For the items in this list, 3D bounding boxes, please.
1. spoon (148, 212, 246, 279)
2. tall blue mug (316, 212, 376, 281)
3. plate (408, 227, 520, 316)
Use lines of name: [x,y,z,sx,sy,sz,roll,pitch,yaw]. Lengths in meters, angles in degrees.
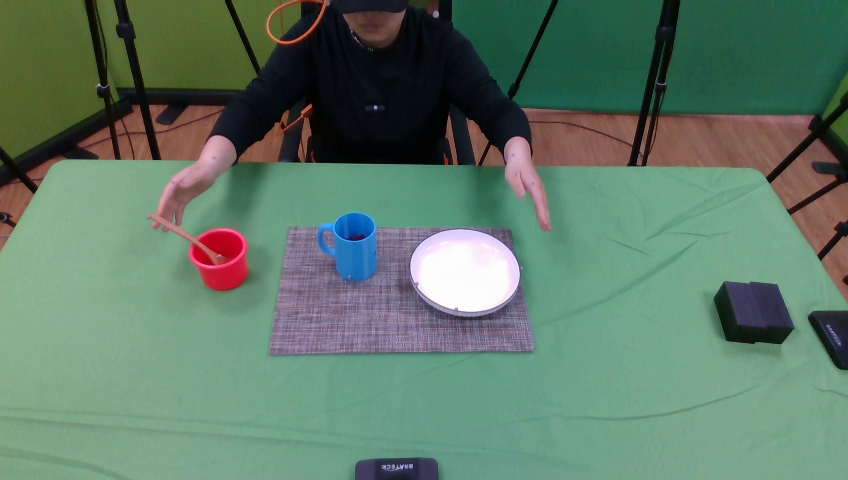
spoon: [-0.400,0.009,1.076,0.194,0.021,0.041,42,37,-25]
tall blue mug: [-0.142,0.014,1.109,0.107,0.108,0.077,-5,47,-8]
plate: [0.073,0.062,1.128,0.208,0.039,0.206,2,46,-2]
